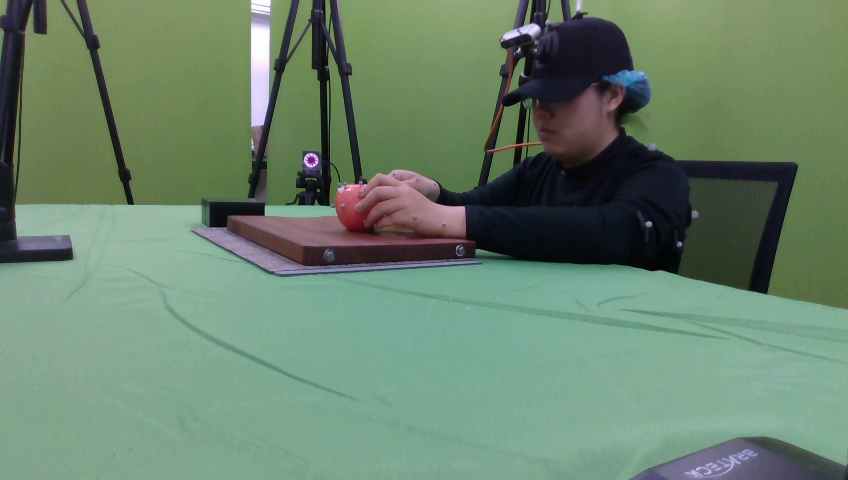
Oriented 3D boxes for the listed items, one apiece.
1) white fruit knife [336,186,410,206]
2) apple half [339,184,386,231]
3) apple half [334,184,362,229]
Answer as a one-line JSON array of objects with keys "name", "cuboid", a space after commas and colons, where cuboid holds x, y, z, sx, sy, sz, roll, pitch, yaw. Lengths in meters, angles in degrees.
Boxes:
[{"name": "white fruit knife", "cuboid": [-0.081, -0.077, 1.009, 0.016, 0.027, 0.208, 11, 5, 30]}, {"name": "apple half", "cuboid": [-0.089, -0.051, 0.952, 0.053, 0.074, 0.081, 11, 7, 30]}, {"name": "apple half", "cuboid": [-0.124, -0.055, 0.972, 0.032, 0.081, 0.081, 9, 10, 30]}]
